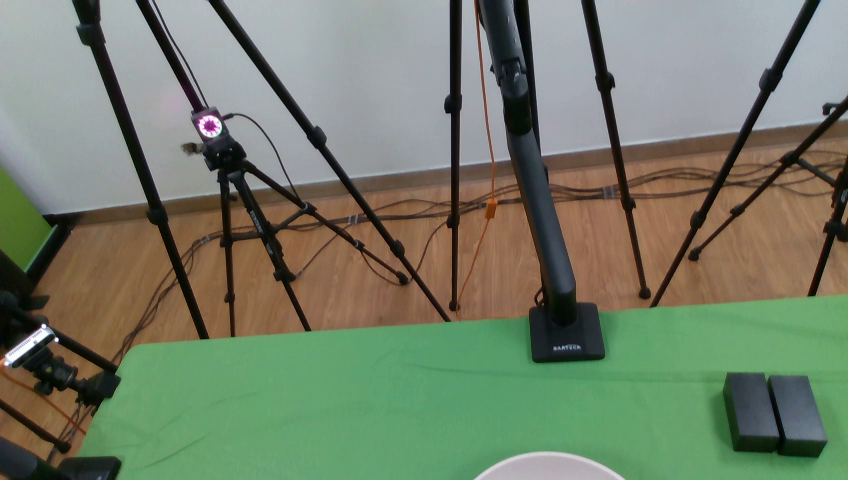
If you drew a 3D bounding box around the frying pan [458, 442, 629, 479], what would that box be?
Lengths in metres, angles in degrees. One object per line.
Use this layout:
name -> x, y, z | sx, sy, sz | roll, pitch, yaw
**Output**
frying pan -> 0.139, 0.470, 0.688 | 0.306, 0.104, 0.484 | -3, 37, 14
